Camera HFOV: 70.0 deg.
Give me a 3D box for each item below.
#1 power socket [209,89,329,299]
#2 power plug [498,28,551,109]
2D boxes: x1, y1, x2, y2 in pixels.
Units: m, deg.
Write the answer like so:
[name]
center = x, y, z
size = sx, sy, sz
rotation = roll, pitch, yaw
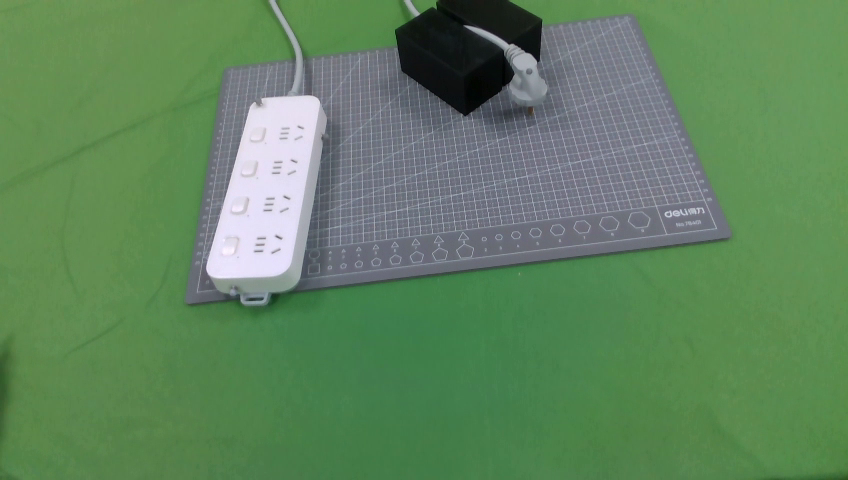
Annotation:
[power socket]
center = -0.134, -0.053, 0.543
size = 0.072, 0.033, 0.224
rotation = 0, 56, 5
[power plug]
center = 0.095, -0.162, 0.573
size = 0.035, 0.053, 0.072
rotation = -12, 58, -5
